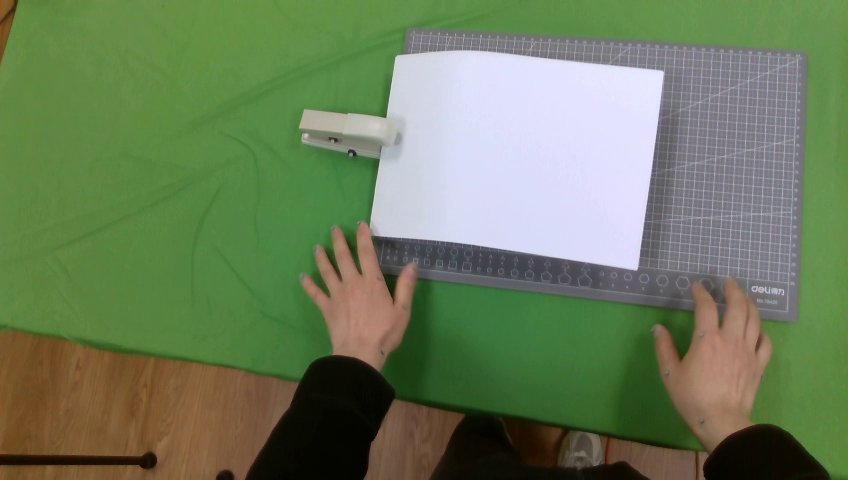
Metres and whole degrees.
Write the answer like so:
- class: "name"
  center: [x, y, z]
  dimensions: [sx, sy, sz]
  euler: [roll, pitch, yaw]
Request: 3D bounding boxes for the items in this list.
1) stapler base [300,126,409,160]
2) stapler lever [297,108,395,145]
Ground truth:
- class: "stapler base"
  center: [-0.084, -0.125, 0.704]
  dimensions: [0.130, 0.024, 0.041]
  euler: [12, 81, 12]
- class: "stapler lever"
  center: [-0.090, -0.129, 0.680]
  dimensions: [0.118, 0.040, 0.027]
  euler: [12, 81, 11]
